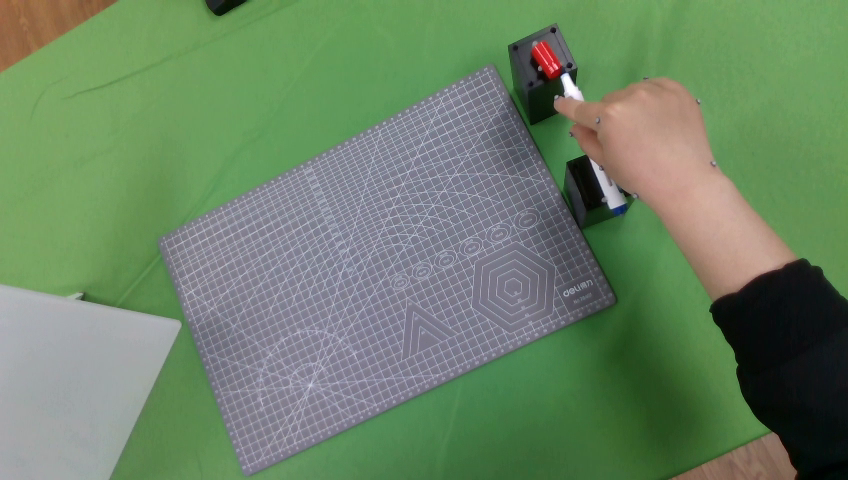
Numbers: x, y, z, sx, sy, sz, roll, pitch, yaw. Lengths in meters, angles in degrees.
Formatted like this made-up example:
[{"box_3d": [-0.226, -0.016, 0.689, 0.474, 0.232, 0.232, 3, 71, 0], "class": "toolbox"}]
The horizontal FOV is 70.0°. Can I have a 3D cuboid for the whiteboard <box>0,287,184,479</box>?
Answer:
[{"box_3d": [-0.453, 0.132, 0.620, 0.142, 0.308, 0.217, 24, 88, 33], "class": "whiteboard"}]

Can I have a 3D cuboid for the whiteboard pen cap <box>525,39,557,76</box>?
[{"box_3d": [0.109, -0.169, 0.563, 0.017, 0.017, 0.032, -32, 79, 6], "class": "whiteboard pen cap"}]

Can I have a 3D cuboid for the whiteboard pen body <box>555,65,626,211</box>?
[{"box_3d": [0.145, -0.091, 0.538, 0.017, 0.017, 0.140, -24, 89, 7], "class": "whiteboard pen body"}]
